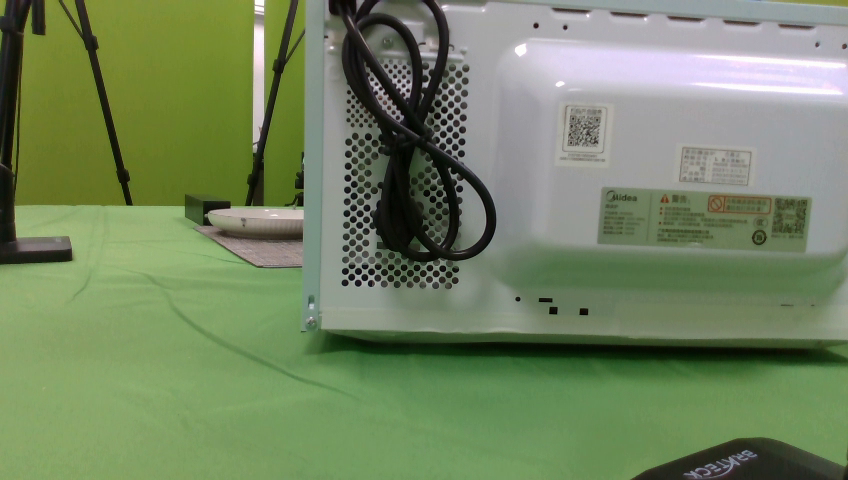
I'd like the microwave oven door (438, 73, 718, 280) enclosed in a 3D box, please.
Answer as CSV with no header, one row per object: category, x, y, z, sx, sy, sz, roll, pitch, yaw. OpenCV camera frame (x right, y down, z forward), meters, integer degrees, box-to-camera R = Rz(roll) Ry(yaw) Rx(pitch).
microwave oven door,0.183,-0.090,0.799,0.354,0.243,0.039,7,8,32

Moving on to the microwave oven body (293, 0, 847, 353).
microwave oven body,0.122,-0.055,0.550,0.442,0.260,0.325,3,7,-5

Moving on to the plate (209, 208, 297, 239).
plate,-0.271,-0.029,1.073,0.208,0.039,0.207,3,7,0

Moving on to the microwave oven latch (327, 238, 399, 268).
microwave oven latch,-0.069,0.015,0.694,0.079,0.029,0.030,3,7,-3

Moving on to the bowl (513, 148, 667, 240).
bowl,0.168,-0.042,0.607,0.151,0.077,0.151,-5,1,0
